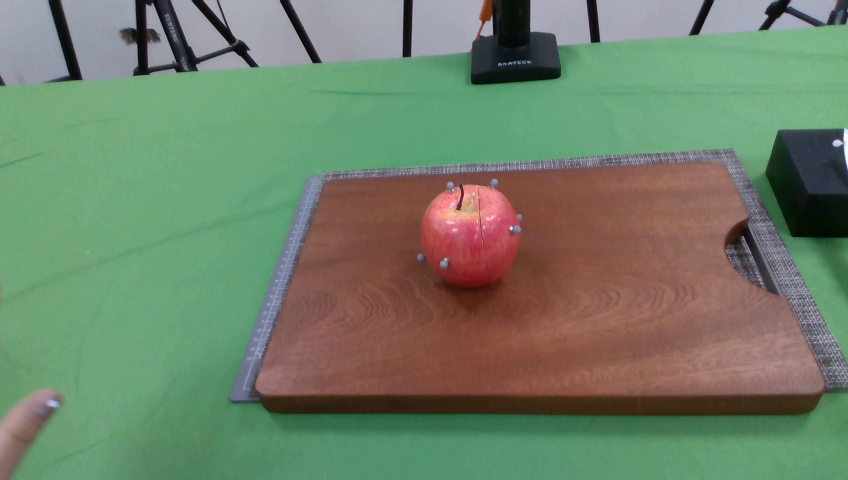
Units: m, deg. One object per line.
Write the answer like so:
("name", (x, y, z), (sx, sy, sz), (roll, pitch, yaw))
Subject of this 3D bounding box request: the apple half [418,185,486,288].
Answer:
("apple half", (0.022, -0.001, 0.496), (0.053, 0.075, 0.080), (-8, 45, 8))

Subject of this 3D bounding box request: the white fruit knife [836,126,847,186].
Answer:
("white fruit knife", (0.363, -0.010, 0.489), (0.027, 0.016, 0.205), (-1, 62, 9))

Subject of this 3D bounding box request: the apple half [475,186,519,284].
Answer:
("apple half", (0.061, -0.005, 0.492), (0.033, 0.082, 0.080), (-8, 42, 7))
